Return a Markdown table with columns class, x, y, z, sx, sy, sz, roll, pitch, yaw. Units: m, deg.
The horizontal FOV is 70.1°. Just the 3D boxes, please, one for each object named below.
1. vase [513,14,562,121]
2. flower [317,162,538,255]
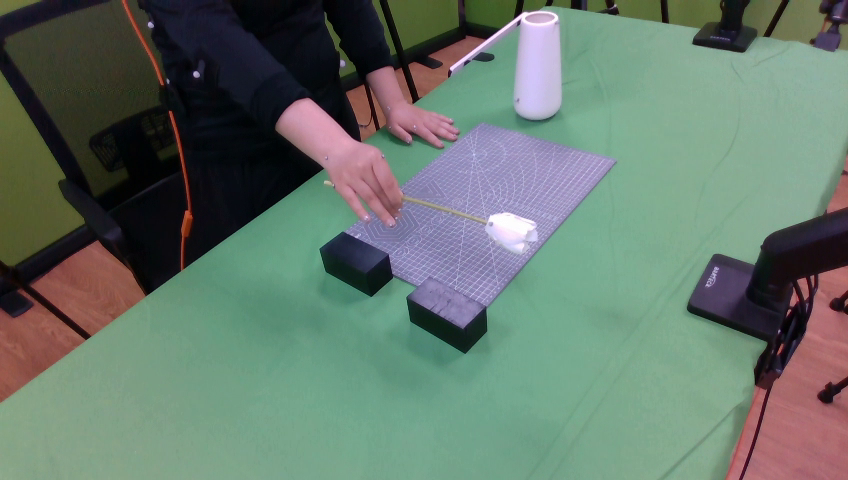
| class | x | y | z | sx | sy | sz | roll | pitch | yaw |
| --- | --- | --- | --- | --- | --- | --- | --- | --- | --- |
| vase | 0.225 | -0.336 | 1.196 | 0.098 | 0.201 | 0.097 | -5 | 42 | 5 |
| flower | -0.015 | -0.056 | 0.797 | 0.359 | 0.038 | 0.044 | 22 | 87 | 32 |
